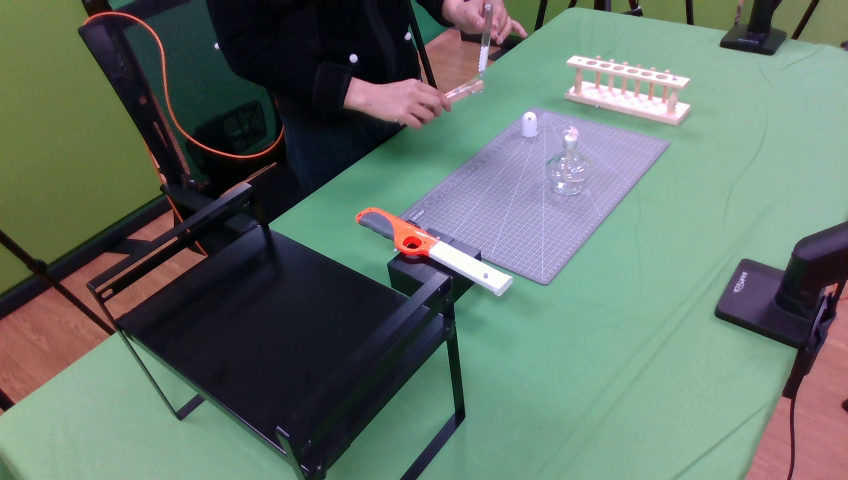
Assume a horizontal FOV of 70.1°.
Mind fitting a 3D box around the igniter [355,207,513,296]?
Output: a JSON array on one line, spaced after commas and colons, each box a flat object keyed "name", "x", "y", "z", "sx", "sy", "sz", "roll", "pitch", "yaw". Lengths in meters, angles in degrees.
[{"name": "igniter", "x": 0.006, "y": 0.010, "z": 0.885, "sx": 0.274, "sy": 0.025, "sz": 0.057, "roll": 27, "pitch": 53, "yaw": 30}]

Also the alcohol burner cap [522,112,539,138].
[{"name": "alcohol burner cap", "x": 0.210, "y": -0.230, "z": 1.195, "sx": 0.034, "sy": 0.048, "sz": 0.033, "roll": -5, "pitch": 41, "yaw": 5}]

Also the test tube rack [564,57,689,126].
[{"name": "test tube rack", "x": 0.411, "y": -0.311, "z": 1.230, "sx": 0.240, "sy": 0.085, "sz": 0.067, "roll": 23, "pitch": 49, "yaw": 32}]

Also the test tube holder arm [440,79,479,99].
[{"name": "test tube holder arm", "x": 0.064, "y": -0.267, "z": 1.088, "sx": 0.088, "sy": 0.015, "sz": 0.010, "roll": -33, "pitch": 46, "yaw": -24}]

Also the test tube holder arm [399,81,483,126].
[{"name": "test tube holder arm", "x": 0.032, "y": -0.243, "z": 1.067, "sx": 0.179, "sy": 0.015, "sz": 0.013, "roll": -30, "pitch": 45, "yaw": -21}]

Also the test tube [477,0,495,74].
[{"name": "test tube", "x": 0.107, "y": -0.359, "z": 1.034, "sx": 0.017, "sy": 0.150, "sz": 0.017, "roll": 4, "pitch": 32, "yaw": -2}]

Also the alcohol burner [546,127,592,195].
[{"name": "alcohol burner", "x": 0.246, "y": -0.137, "z": 1.024, "sx": 0.078, "sy": 0.119, "sz": 0.077, "roll": -4, "pitch": 38, "yaw": 4}]
